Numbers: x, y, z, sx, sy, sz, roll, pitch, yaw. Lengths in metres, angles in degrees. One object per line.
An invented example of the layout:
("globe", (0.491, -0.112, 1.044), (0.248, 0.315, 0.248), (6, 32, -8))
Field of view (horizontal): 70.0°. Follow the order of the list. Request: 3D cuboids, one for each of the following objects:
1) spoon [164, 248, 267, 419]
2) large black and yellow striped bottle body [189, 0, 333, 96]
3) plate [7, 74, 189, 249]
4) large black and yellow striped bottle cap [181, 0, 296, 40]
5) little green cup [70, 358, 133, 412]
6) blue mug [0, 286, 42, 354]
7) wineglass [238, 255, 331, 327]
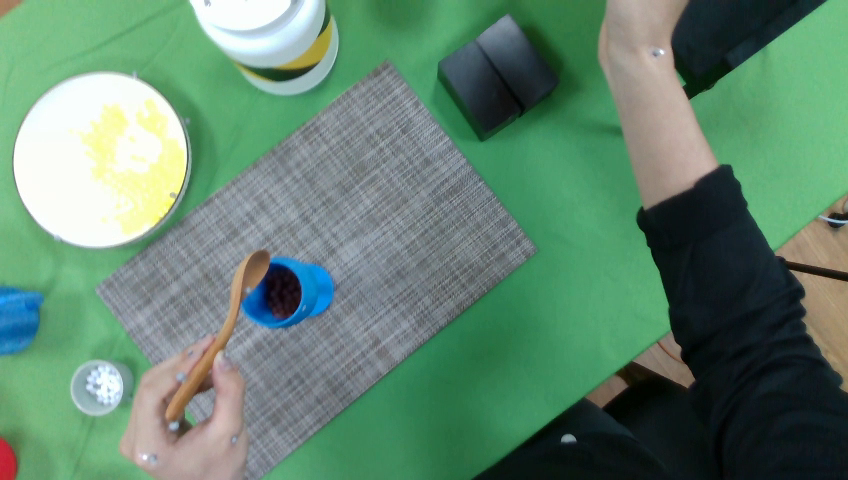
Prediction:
("spoon", (-0.157, 0.064, 0.474), (0.022, 0.192, 0.042), (13, 120, -6))
("large black and yellow striped bottle body", (-0.176, -0.246, 0.662), (0.131, 0.184, 0.130), (0, 87, 0))
("plate", (-0.384, -0.091, 0.726), (0.209, 0.038, 0.209), (0, 88, -1))
("large black and yellow striped bottle cap", (-0.178, -0.250, 0.578), (0.115, 0.019, 0.115), (0, 86, -1))
("little green cup", (-0.378, 0.169, 0.715), (0.061, 0.038, 0.061), (0, 88, 0))
("blue mug", (-0.496, 0.087, 0.684), (0.116, 0.106, 0.082), (-25, 88, -2))
("wineglass", (-0.146, 0.054, 0.651), (0.074, 0.172, 0.073), (0, 87, 0))
